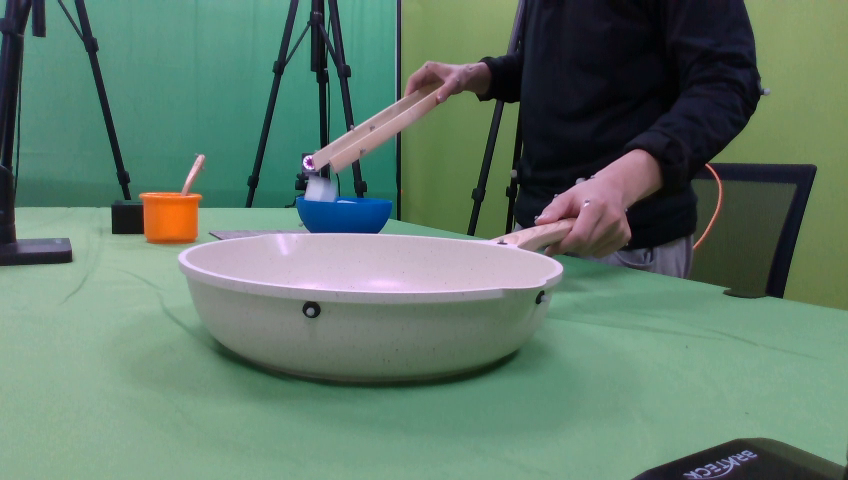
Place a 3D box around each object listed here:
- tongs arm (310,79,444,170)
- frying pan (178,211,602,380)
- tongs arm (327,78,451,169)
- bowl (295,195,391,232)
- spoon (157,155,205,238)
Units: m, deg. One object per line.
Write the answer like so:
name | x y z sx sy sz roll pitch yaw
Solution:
tongs arm | -0.065 -0.210 1.049 0.050 0.026 0.385 -1 28 31
frying pan | 0.035 0.019 0.556 0.490 0.102 0.305 -16 18 -42
tongs arm | -0.045 -0.209 1.035 0.028 0.028 0.388 -3 27 36
bowl | -0.127 -0.028 0.946 0.151 0.077 0.151 2 7 0
spoon | -0.392 -0.076 0.998 0.041 0.193 0.021 2 -37 5
